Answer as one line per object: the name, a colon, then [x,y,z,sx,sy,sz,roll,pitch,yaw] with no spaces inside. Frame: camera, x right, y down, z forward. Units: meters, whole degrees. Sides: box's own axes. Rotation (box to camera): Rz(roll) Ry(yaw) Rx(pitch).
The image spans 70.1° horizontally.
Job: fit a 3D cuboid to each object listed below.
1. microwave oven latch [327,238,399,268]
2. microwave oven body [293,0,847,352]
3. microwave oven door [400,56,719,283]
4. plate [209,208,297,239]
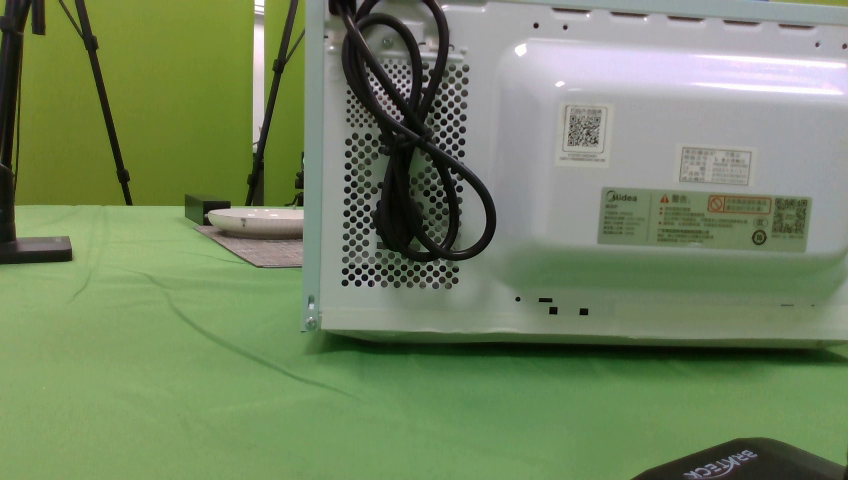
microwave oven latch: [-0.069,0.015,0.694,0.079,0.029,0.030,3,7,-3]
microwave oven body: [0.122,-0.055,0.550,0.442,0.260,0.325,3,7,-5]
microwave oven door: [0.155,-0.077,0.698,0.356,0.243,0.039,2,8,-5]
plate: [-0.271,-0.029,1.074,0.208,0.039,0.207,3,7,0]
